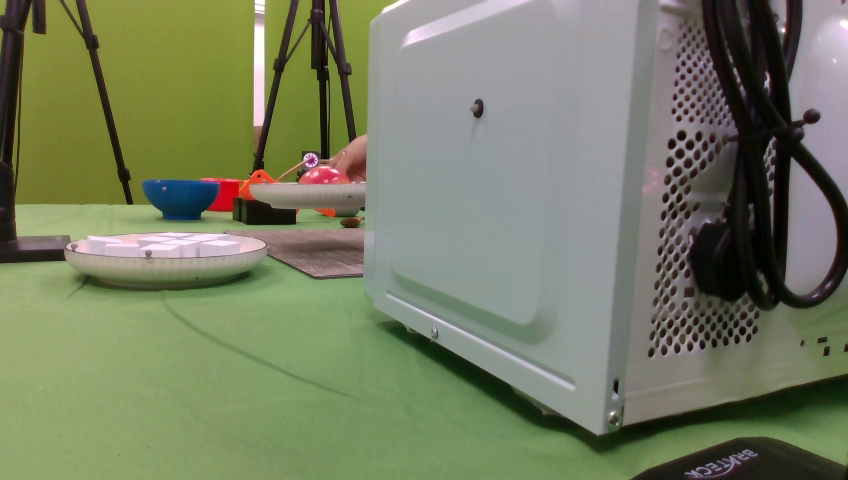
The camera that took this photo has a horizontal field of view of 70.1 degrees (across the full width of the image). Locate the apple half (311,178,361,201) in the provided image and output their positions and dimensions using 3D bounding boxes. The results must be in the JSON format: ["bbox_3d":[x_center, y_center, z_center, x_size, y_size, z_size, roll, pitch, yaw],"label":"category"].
[{"bbox_3d":[-0.138,-0.082,0.960,0.081,0.033,0.081,-2,13,1],"label":"apple half"}]

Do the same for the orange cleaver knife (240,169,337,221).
[{"bbox_3d":[-0.287,-0.082,1.298,0.212,0.077,0.012,25,-2,-31],"label":"orange cleaver knife"}]

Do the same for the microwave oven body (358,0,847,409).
[{"bbox_3d":[0.210,-0.051,0.471,0.444,0.260,0.324,-1,7,-28],"label":"microwave oven body"}]

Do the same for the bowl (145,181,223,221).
[{"bbox_3d":[-0.499,-0.081,1.261,0.151,0.077,0.151,2,7,0],"label":"bowl"}]

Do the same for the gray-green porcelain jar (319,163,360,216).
[{"bbox_3d":[-0.205,-0.126,1.490,0.106,0.126,0.106,1,8,0],"label":"gray-green porcelain jar"}]

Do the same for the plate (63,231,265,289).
[{"bbox_3d":[-0.288,0.021,0.687,0.208,0.039,0.207,2,8,0],"label":"plate"}]

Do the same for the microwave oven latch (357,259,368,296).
[{"bbox_3d":[-0.019,0.031,0.529,0.079,0.029,0.030,-1,7,-26],"label":"microwave oven latch"}]

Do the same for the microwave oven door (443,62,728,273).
[{"bbox_3d":[0.188,-0.097,0.784,0.354,0.243,0.039,6,9,31],"label":"microwave oven door"}]

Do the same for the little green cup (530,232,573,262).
[{"bbox_3d":[0.185,0.010,0.879,0.061,0.038,0.061,1,7,0],"label":"little green cup"}]

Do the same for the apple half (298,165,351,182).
[{"bbox_3d":[-0.144,-0.083,0.878,0.081,0.053,0.074,-5,10,-39],"label":"apple half"}]

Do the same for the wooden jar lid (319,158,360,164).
[{"bbox_3d":[-0.203,-0.189,1.482,0.108,0.020,0.108,2,10,0],"label":"wooden jar lid"}]

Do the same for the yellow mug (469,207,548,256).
[{"bbox_3d":[0.137,-0.014,0.950,0.131,0.064,0.099,2,7,-20],"label":"yellow mug"}]

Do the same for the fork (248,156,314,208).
[{"bbox_3d":[-0.360,-0.147,1.523,0.207,0.019,0.028,-43,19,-6],"label":"fork"}]

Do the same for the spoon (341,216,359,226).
[{"bbox_3d":[-0.132,-0.048,1.305,0.041,0.021,0.194,-14,4,14],"label":"spoon"}]

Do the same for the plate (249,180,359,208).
[{"bbox_3d":[-0.156,-0.071,0.916,0.209,0.038,0.209,-1,6,0],"label":"plate"}]
